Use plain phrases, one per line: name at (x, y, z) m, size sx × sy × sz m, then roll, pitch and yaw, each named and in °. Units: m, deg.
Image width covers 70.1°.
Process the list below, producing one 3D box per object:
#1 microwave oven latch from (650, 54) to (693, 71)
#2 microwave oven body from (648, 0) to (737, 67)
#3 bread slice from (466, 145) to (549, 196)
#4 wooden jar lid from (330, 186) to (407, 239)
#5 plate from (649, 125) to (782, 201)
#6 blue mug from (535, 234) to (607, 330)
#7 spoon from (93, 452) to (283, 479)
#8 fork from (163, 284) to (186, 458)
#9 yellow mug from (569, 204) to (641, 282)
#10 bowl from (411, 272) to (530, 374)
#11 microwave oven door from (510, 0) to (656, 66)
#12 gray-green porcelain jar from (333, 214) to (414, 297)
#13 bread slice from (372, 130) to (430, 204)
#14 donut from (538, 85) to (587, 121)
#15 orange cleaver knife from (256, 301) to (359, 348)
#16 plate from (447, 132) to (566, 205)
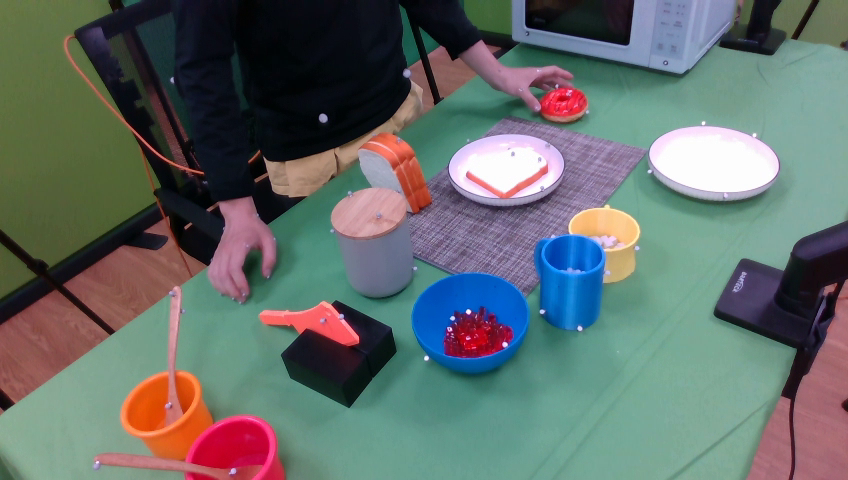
microwave oven latch at (0.531, -0.386, 1.301) m, size 0.078 × 0.029 × 0.030 m, roll 26°, pitch 51°, yaw 33°
microwave oven body at (0.475, -0.602, 1.411) m, size 0.438 × 0.261 × 0.327 m, roll 23°, pitch 50°, yaw 32°
bread slice at (0.156, -0.128, 1.085) m, size 0.132 × 0.019 × 0.104 m, roll -34°, pitch 48°, yaw -23°
wooden jar lid at (-0.077, -0.035, 0.846) m, size 0.108 × 0.021 × 0.108 m, roll -5°, pitch 41°, yaw 5°
plate at (0.493, -0.127, 1.036) m, size 0.207 × 0.039 × 0.206 m, roll -4°, pitch 41°, yaw 4°
blue mug at (0.190, 0.048, 0.824) m, size 0.082 × 0.106 × 0.115 m, roll -26°, pitch 44°, yaw -20°
spoon at (-0.240, 0.239, 0.632) m, size 0.195 × 0.021 × 0.041 m, roll 26°, pitch 34°, yaw -32°
fork at (-0.302, 0.157, 0.733) m, size 0.028 × 0.019 × 0.207 m, roll -4°, pitch 84°, yaw 16°
yellow mug at (0.268, -0.005, 0.904) m, size 0.099 × 0.064 × 0.130 m, roll 7°, pitch 41°, yaw 15°
bowl at (0.062, 0.120, 0.780) m, size 0.151 × 0.077 × 0.150 m, roll -4°, pitch 40°, yaw 4°
microwave oven door at (0.350, -0.539, 1.349) m, size 0.353 × 0.245 × 0.039 m, roll 24°, pitch 50°, yaw 31°
gray-green porcelain jar at (-0.071, 0.012, 0.887) m, size 0.106 × 0.127 × 0.105 m, roll -4°, pitch 41°, yaw 4°
bread slice at (-0.042, -0.127, 1.038) m, size 0.106 × 0.135 × 0.018 m, roll 30°, pitch 61°, yaw 34°
donut at (0.284, -0.280, 1.240) m, size 0.099 × 0.048 × 0.098 m, roll -6°, pitch 43°, yaw 6°
orange cleaver knife at (-0.160, 0.115, 0.813) m, size 0.210 × 0.077 × 0.012 m, roll -9°, pitch 29°, yaw 48°
plate at (0.146, -0.124, 1.076) m, size 0.209 × 0.038 × 0.208 m, roll -3°, pitch 41°, yaw 3°
